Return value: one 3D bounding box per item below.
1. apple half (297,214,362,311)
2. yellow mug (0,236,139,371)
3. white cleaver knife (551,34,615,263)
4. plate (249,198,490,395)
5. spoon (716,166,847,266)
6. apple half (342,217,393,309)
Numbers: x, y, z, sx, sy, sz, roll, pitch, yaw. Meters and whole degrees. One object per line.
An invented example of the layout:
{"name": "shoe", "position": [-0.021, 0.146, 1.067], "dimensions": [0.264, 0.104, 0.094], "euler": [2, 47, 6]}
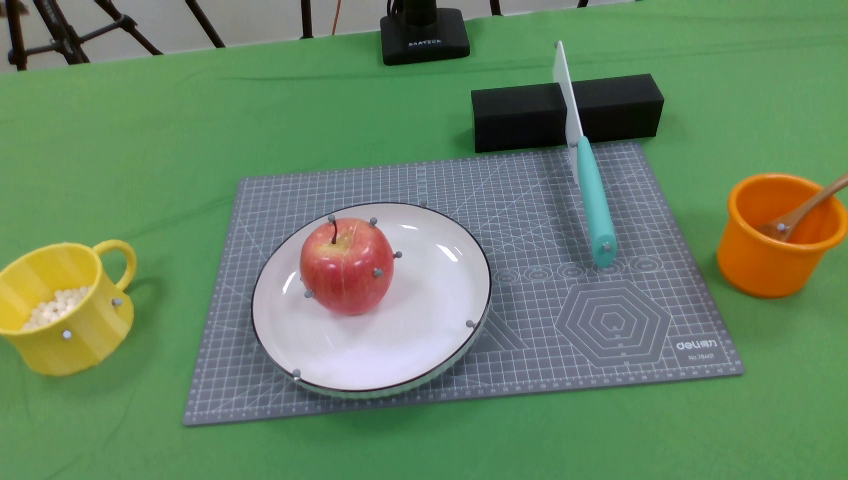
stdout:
{"name": "apple half", "position": [-0.080, 0.020, 0.526], "dimensions": [0.053, 0.075, 0.080], "euler": [2, 51, 13]}
{"name": "yellow mug", "position": [-0.313, 0.046, 0.545], "dimensions": [0.099, 0.064, 0.130], "euler": [22, 53, 24]}
{"name": "white cleaver knife", "position": [0.158, -0.100, 0.625], "dimensions": [0.021, 0.066, 0.283], "euler": [-4, 58, 4]}
{"name": "plate", "position": [-0.046, 0.047, 0.534], "dimensions": [0.209, 0.038, 0.207], "euler": [-3, 48, 3]}
{"name": "spoon", "position": [0.333, -0.039, 0.502], "dimensions": [0.022, 0.194, 0.041], "euler": [27, 35, -31]}
{"name": "apple half", "position": [-0.042, 0.022, 0.519], "dimensions": [0.032, 0.082, 0.080], "euler": [1, 48, 13]}
